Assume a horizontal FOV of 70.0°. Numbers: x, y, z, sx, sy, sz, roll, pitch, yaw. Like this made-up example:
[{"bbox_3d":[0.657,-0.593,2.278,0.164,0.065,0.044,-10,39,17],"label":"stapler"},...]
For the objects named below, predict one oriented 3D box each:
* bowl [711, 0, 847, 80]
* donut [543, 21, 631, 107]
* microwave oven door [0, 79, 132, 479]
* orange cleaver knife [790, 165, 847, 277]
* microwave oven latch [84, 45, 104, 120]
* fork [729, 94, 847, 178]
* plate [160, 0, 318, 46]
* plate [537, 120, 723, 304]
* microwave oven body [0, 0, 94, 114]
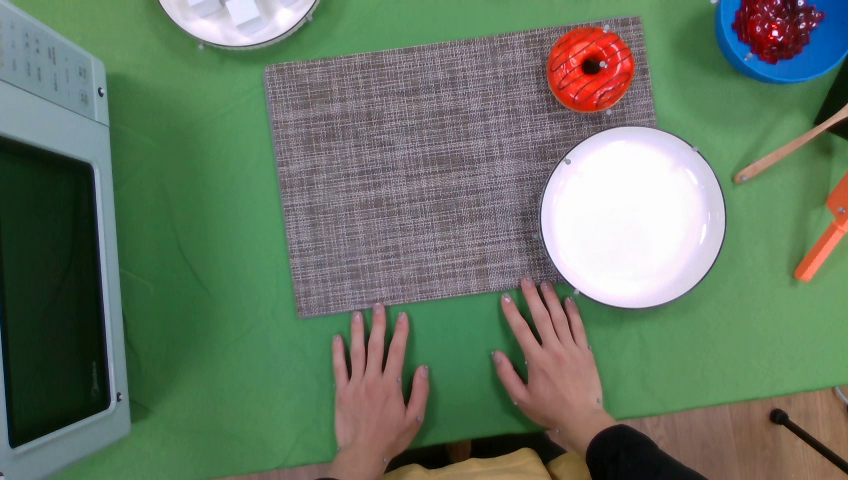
[{"bbox_3d":[0.387,-0.246,0.682,0.151,0.077,0.151,0,89,1],"label":"bowl"},{"bbox_3d":[0.186,-0.201,0.695,0.099,0.048,0.099,0,89,3],"label":"donut"},{"bbox_3d":[-0.368,0.038,0.581,0.039,0.244,0.355,-5,88,1],"label":"microwave oven door"},{"bbox_3d":[0.474,-0.054,0.674,0.012,0.077,0.212,24,118,0],"label":"orange cleaver knife"},{"bbox_3d":[-0.384,-0.177,0.687,0.030,0.029,0.079,-4,89,0],"label":"microwave oven latch"},{"bbox_3d":[0.438,-0.132,0.674,0.207,0.018,0.028,-36,95,20],"label":"fork"},{"bbox_3d":[-0.212,-0.325,0.708,0.208,0.039,0.207,0,89,1],"label":"plate"},{"bbox_3d":[0.232,-0.031,0.694,0.209,0.038,0.209,0,89,0],"label":"plate"},{"bbox_3d":[-0.517,0.008,0.588,0.326,0.260,0.441,-5,89,0],"label":"microwave oven body"}]
